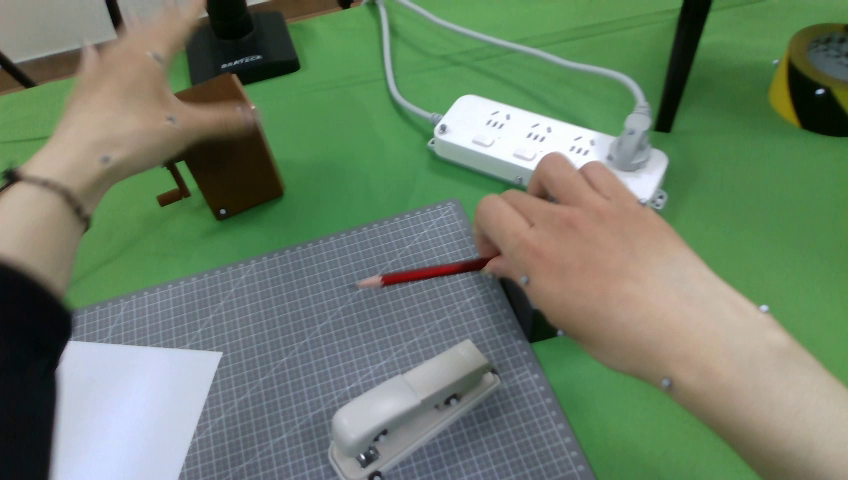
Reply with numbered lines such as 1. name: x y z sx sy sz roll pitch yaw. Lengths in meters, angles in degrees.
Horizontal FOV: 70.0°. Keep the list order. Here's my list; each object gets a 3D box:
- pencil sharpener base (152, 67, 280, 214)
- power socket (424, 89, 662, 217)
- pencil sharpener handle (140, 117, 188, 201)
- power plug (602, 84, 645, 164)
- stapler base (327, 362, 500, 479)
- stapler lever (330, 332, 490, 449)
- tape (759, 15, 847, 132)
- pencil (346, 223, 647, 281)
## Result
1. pencil sharpener base: -0.184 -0.085 0.539 0.077 0.108 0.060 -27 56 -14
2. power socket: 0.109 -0.085 0.563 0.225 0.033 0.072 22 57 20
3. pencil sharpener handle: -0.226 -0.067 0.512 0.030 0.068 0.035 -27 32 -14
4. power plug: 0.185 -0.094 0.534 0.035 0.053 0.072 32 62 25
5. stapler base: -0.008 0.114 0.424 0.130 0.024 0.041 -31 58 -19
6. stapler lever: -0.009 0.097 0.405 0.118 0.040 0.026 -31 57 -19
7. tape: 0.395 -0.162 0.586 0.117 0.053 0.115 -2 54 3
8. pencil: 0.049 0.008 0.373 0.194 0.012 0.012 -9 52 -11
